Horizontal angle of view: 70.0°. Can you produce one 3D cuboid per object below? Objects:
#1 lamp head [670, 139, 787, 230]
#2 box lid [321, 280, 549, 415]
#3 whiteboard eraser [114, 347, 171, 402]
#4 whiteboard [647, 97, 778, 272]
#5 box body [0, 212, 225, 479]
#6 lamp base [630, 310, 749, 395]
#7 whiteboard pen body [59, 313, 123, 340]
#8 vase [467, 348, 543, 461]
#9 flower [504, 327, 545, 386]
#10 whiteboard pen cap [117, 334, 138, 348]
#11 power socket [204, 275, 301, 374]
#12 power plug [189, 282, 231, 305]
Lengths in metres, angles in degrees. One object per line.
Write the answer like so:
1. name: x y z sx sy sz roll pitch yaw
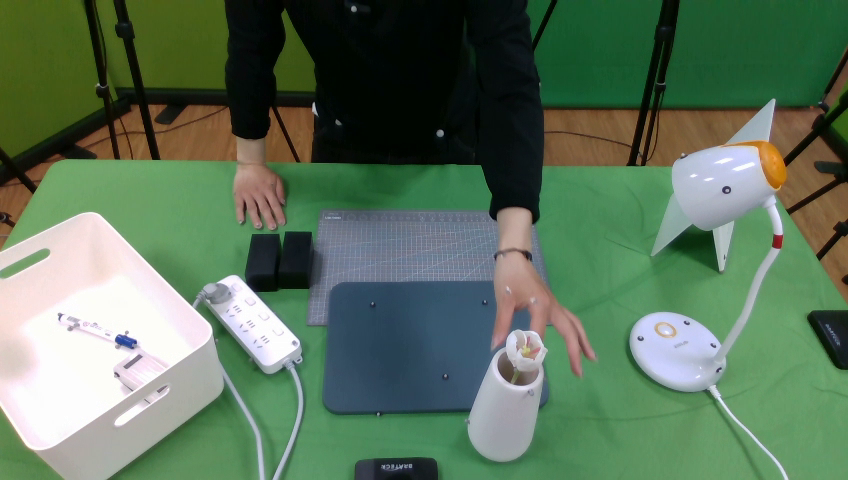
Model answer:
1. lamp head: 0.415 -0.078 0.812 0.113 0.123 0.112 12 70 -37
2. box lid: 0.013 0.174 1.040 0.372 0.015 0.261 0 47 -5
3. whiteboard eraser: -0.420 0.215 0.936 0.112 0.042 0.055 25 48 22
4. whiteboard: 0.602 -0.079 1.162 0.144 0.306 0.216 35 51 2
5. box body: -0.506 0.155 0.915 0.362 0.161 0.254 35 54 26
6. lamp base: 0.447 0.143 0.984 0.161 0.181 0.178 -24 55 -24
7. whiteboard pen body: -0.543 0.148 1.009 0.140 0.017 0.017 16 47 9
8. vase: 0.116 0.234 0.861 0.098 0.201 0.097 1 47 -1
9. flower: 0.114 0.189 0.790 0.044 0.363 0.038 33 69 18
10. whiteboard pen cap: -0.489 0.165 0.997 0.033 0.018 0.018 17 47 10
11. power socket: -0.296 0.140 1.035 0.072 0.033 0.225 -33 57 -30
12. power plug: -0.368 0.097 1.039 0.072 0.053 0.035 -27 54 -21
